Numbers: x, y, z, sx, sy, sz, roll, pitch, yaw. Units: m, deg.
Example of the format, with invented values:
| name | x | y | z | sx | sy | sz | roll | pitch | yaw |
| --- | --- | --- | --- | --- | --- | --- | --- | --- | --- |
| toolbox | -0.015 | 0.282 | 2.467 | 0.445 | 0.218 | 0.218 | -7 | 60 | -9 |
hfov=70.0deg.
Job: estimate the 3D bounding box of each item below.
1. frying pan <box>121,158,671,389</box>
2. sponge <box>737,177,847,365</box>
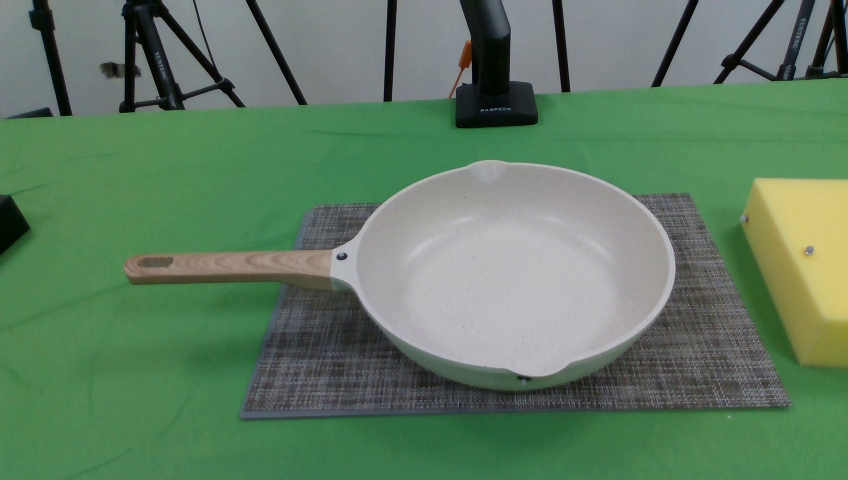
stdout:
| name | x | y | z | sx | sy | sz | roll | pitch | yaw |
| --- | --- | --- | --- | --- | --- | --- | --- | --- | --- |
| frying pan | -0.027 | 0.024 | 0.569 | 0.489 | 0.103 | 0.303 | 2 | 38 | -5 |
| sponge | 0.387 | 0.021 | 0.566 | 0.118 | 0.061 | 0.205 | 1 | 39 | 8 |
